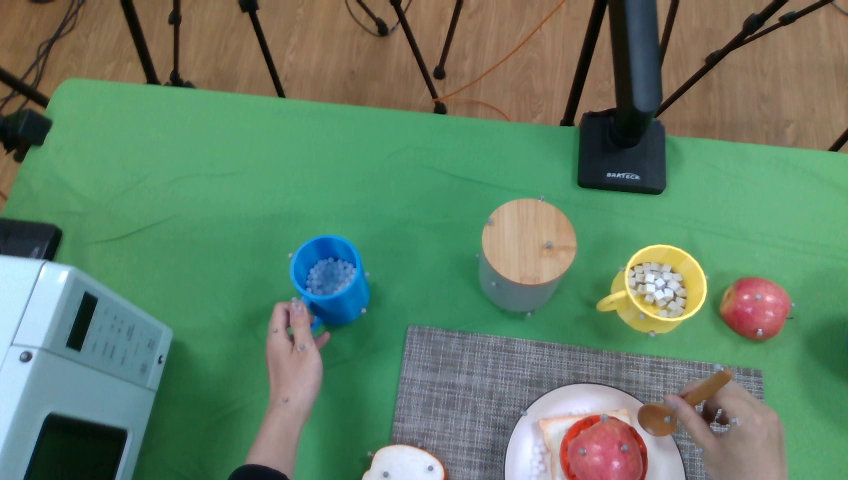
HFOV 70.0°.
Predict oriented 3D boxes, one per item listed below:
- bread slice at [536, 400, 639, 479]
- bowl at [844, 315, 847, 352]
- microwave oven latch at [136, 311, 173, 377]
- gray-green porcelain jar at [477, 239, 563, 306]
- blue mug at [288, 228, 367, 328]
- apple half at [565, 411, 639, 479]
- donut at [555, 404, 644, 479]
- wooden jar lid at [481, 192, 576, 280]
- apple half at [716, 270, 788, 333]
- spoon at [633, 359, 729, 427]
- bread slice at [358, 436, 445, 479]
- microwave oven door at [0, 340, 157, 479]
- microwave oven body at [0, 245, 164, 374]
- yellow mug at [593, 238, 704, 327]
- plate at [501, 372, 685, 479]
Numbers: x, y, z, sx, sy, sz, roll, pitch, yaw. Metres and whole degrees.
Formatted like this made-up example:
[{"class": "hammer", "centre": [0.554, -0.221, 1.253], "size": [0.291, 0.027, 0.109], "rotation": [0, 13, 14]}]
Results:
[{"class": "bread slice", "centre": [0.196, 0.259, 0.704], "size": [0.107, 0.018, 0.133], "rotation": [-9, 72, -3]}, {"class": "bowl", "centre": [0.575, 0.128, 0.733], "size": [0.151, 0.077, 0.150], "rotation": [0, 69, 1]}, {"class": "microwave oven latch", "centre": [-0.336, 0.127, 0.748], "size": [0.030, 0.030, 0.078], "rotation": [11, 70, 5]}, {"class": "gray-green porcelain jar", "centre": [0.120, 0.020, 0.756], "size": [0.106, 0.127, 0.105], "rotation": [0, 68, 1]}, {"class": "blue mug", "centre": [-0.124, 0.057, 0.741], "size": [0.082, 0.106, 0.116], "rotation": [29, 71, 12]}, {"class": "apple half", "centre": [0.195, 0.224, 0.650], "size": [0.081, 0.033, 0.080], "rotation": [-3, 68, 8]}, {"class": "donut", "centre": [0.198, 0.236, 0.684], "size": [0.099, 0.048, 0.098], "rotation": [0, 69, 1]}, {"class": "wooden jar lid", "centre": [0.119, -0.003, 0.698], "size": [0.108, 0.021, 0.107], "rotation": [0, 67, 1]}, {"class": "apple half", "centre": [0.421, 0.073, 0.771], "size": [0.074, 0.054, 0.080], "rotation": [28, 72, 14]}, {"class": "spoon", "centre": [0.256, 0.156, 0.607], "size": [0.021, 0.195, 0.041], "rotation": [-41, 71, -19]}, {"class": "bread slice", "centre": [-0.033, 0.296, 0.706], "size": [0.105, 0.019, 0.131], "rotation": [14, 71, 5]}, {"class": "microwave oven door", "centre": [-0.371, 0.291, 0.575], "size": [0.039, 0.245, 0.353], "rotation": [7, 69, 4]}, {"class": "microwave oven body", "centre": [-0.509, 0.237, 0.604], "size": [0.326, 0.262, 0.439], "rotation": [7, 69, 3]}, {"class": "yellow mug", "centre": [0.279, 0.059, 0.771], "size": [0.131, 0.064, 0.099], "rotation": [-16, 69, -4]}, {"class": "plate", "centre": [0.192, 0.261, 0.705], "size": [0.208, 0.039, 0.206], "rotation": [0, 69, 1]}]
